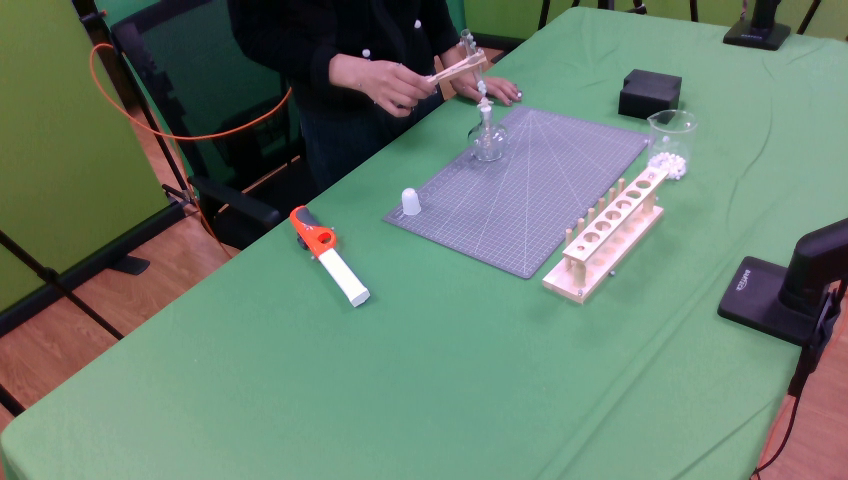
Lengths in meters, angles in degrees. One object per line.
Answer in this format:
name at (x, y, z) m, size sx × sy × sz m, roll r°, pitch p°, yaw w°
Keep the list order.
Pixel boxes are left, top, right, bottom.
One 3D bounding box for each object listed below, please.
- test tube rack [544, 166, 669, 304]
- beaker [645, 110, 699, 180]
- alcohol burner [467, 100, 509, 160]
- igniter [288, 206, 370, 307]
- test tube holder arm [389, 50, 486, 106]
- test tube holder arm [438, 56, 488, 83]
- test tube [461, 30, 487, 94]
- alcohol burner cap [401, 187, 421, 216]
test tube rack at (0.274, -0.018, 0.903) m, size 0.066 × 0.085 × 0.243 m, roll 26°, pitch 51°, yaw 35°
beaker at (0.417, -0.160, 1.032) m, size 0.083 × 0.101 × 0.074 m, roll 25°, pitch 51°, yaw 34°
alcohol burner at (0.118, -0.210, 1.131) m, size 0.078 × 0.119 × 0.077 m, roll -5°, pitch 42°, yaw 5°
igniter at (-0.163, 0.017, 0.986) m, size 0.057 × 0.025 × 0.274 m, roll -33°, pitch 45°, yaw -12°
test tube holder arm at (0.022, -0.274, 1.026) m, size 0.178 × 0.015 × 0.013 m, roll -24°, pitch 61°, yaw 10°
test tube holder arm at (0.064, -0.286, 1.015) m, size 0.087 × 0.015 × 0.010 m, roll -17°, pitch 63°, yaw 14°
test tube at (0.085, -0.296, 1.015) m, size 0.017 × 0.151 × 0.017 m, roll -7°, pitch 64°, yaw 15°
alcohol burner cap at (-0.025, -0.070, 1.048) m, size 0.034 × 0.048 × 0.033 m, roll -5°, pitch 41°, yaw 5°
